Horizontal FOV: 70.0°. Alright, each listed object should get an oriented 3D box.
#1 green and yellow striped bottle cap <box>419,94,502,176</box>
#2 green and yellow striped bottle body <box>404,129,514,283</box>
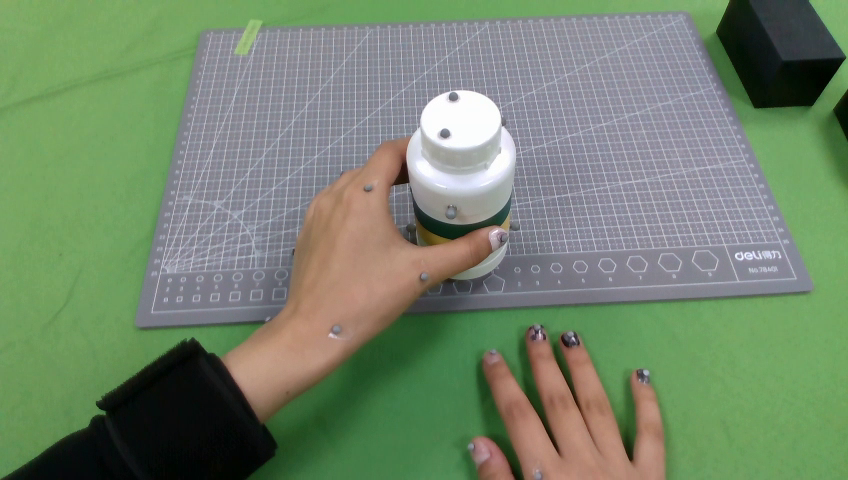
[{"bbox_3d":[0.020,-0.057,0.325,0.045,0.020,0.045,-2,57,4],"label":"green and yellow striped bottle cap"},{"bbox_3d":[0.021,-0.029,0.368,0.063,0.121,0.062,-2,57,3],"label":"green and yellow striped bottle body"}]
